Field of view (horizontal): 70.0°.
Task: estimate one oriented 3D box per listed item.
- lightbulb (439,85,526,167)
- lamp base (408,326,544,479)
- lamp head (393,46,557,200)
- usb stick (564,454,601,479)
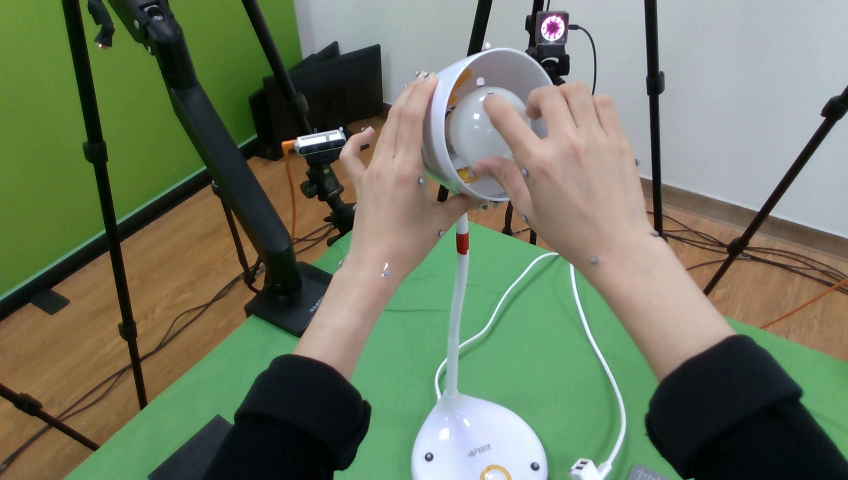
[{"bbox_3d":[0.036,-0.088,0.468,0.059,0.060,0.107,-20,18,-20],"label":"lightbulb"},{"bbox_3d":[0.051,0.194,0.675,0.161,0.182,0.177,-25,43,-25],"label":"lamp base"},{"bbox_3d":[0.030,-0.088,0.494,0.112,0.113,0.122,-26,15,-26],"label":"lamp head"},{"bbox_3d":[0.183,0.273,0.681,0.027,0.059,0.021,-30,5,-34],"label":"usb stick"}]
